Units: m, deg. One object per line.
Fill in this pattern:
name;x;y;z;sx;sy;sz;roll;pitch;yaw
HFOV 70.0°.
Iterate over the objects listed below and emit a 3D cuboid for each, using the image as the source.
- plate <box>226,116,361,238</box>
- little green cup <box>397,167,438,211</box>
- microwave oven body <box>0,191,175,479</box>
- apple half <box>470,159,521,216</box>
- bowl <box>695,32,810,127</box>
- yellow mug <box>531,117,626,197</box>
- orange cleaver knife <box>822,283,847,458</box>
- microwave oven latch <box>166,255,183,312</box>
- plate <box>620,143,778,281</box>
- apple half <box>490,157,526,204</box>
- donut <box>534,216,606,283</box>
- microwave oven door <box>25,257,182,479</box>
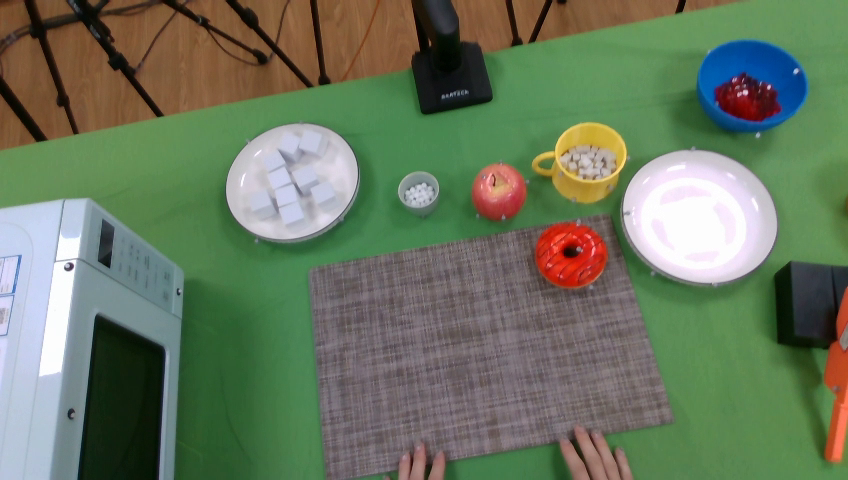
plate;-0.198;-0.095;0.937;0.207;0.039;0.206;-2;67;5
little green cup;-0.007;-0.074;0.908;0.061;0.039;0.061;-2;67;6
microwave oven body;-0.504;0.207;0.720;0.326;0.262;0.438;-8;68;2
apple half;0.096;-0.068;0.876;0.053;0.075;0.080;-36;72;-4
bowl;0.471;-0.222;0.896;0.151;0.077;0.150;-2;68;6
yellow mug;0.223;-0.120;0.887;0.131;0.064;0.099;-1;68;7
orange cleaver knife;0.502;0.156;0.731;0.012;0.077;0.212;7;101;11
microwave oven latch;-0.365;0.063;0.869;0.030;0.030;0.078;-6;68;3
plate;0.380;-0.038;0.851;0.209;0.038;0.207;-2;67;6
apple half;0.128;-0.091;0.881;0.033;0.082;0.080;-37;68;-4
donut;0.202;0.013;0.842;0.099;0.048;0.098;-3;68;7
microwave oven door;-0.355;0.224;0.692;0.039;0.246;0.353;-8;67;3
